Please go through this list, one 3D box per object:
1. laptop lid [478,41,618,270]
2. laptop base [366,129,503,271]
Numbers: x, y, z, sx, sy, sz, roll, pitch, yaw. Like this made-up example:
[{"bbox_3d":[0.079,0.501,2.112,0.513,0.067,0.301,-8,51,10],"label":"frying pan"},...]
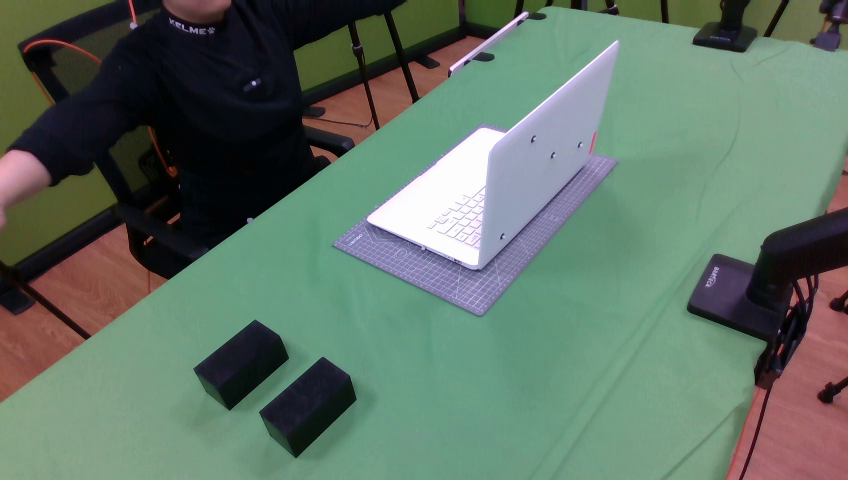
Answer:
[{"bbox_3d":[0.191,-0.130,0.912,0.013,0.242,0.358,29,50,26],"label":"laptop lid"},{"bbox_3d":[0.099,-0.085,1.059,0.233,0.023,0.355,21,48,34],"label":"laptop base"}]
